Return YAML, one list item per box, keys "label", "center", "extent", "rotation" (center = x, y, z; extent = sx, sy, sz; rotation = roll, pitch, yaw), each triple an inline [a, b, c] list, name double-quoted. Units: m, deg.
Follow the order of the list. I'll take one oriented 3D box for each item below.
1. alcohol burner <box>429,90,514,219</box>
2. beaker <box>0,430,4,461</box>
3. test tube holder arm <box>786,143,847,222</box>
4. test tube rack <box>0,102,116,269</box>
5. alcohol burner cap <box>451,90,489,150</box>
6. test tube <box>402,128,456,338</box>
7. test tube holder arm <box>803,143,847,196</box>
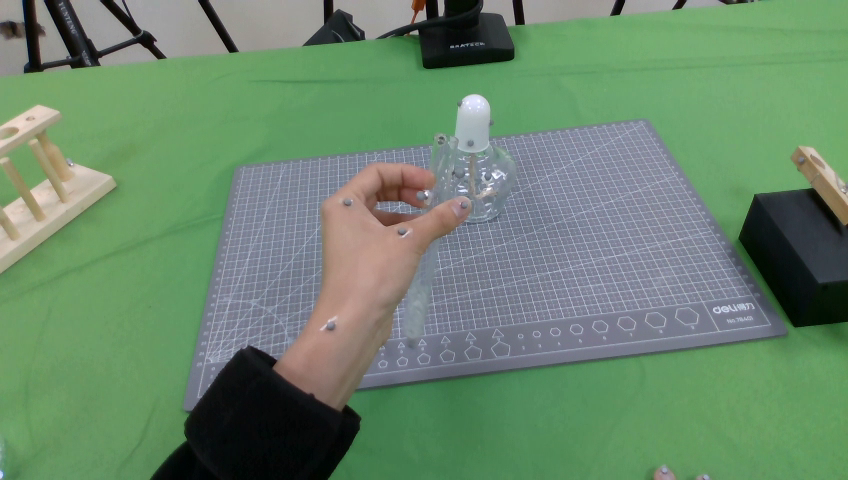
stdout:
- label: "alcohol burner"
  center: [0.042, -0.078, 0.540]
  extent: [0.078, 0.120, 0.077]
  rotation: [-3, 42, 3]
- label: "beaker"
  center: [-0.329, 0.124, 0.382]
  extent: [0.084, 0.101, 0.073]
  rotation: [-24, 47, -18]
- label: "test tube holder arm"
  center: [0.318, -0.048, 0.485]
  extent: [0.010, 0.015, 0.087]
  rotation: [0, 44, -6]
- label: "test tube rack"
  center: [-0.414, -0.023, 0.551]
  extent: [0.066, 0.086, 0.241]
  rotation: [18, 49, 22]
- label: "alcohol burner cap"
  center: [0.040, -0.103, 0.515]
  extent: [0.034, 0.048, 0.033]
  rotation: [1, 44, 0]
- label: "test tube"
  center: [0.002, 0.001, 0.397]
  extent: [0.017, 0.151, 0.017]
  rotation: [7, 26, -3]
- label: "test tube holder arm"
  center: [0.327, -0.016, 0.454]
  extent: [0.013, 0.015, 0.176]
  rotation: [0, 44, -6]
